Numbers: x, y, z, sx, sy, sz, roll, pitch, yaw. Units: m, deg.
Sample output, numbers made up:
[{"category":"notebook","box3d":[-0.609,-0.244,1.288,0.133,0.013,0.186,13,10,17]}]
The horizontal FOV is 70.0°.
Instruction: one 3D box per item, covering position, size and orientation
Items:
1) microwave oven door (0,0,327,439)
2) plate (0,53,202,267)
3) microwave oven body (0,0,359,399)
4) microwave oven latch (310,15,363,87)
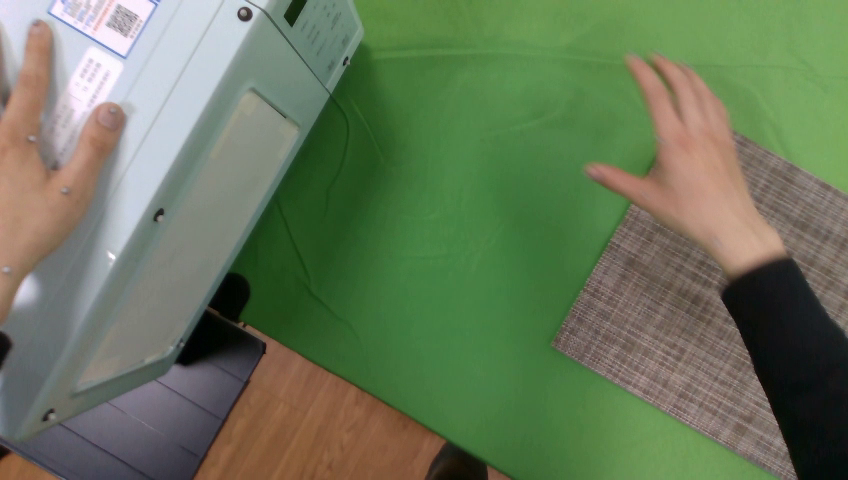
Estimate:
[{"category":"microwave oven door","box3d":[-0.212,-0.015,0.541,0.039,0.244,0.355,30,91,2]},{"category":"plate","box3d":[-0.322,-0.078,0.605,0.209,0.038,0.209,0,93,-1]},{"category":"microwave oven body","box3d":[-0.316,-0.125,0.546,0.326,0.260,0.441,31,92,1]},{"category":"microwave oven latch","box3d":[-0.095,-0.203,0.636,0.030,0.029,0.079,34,92,1]}]
